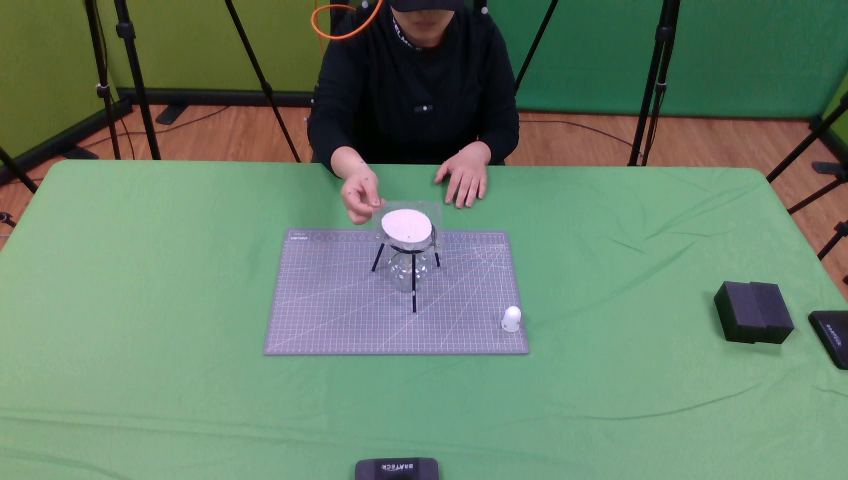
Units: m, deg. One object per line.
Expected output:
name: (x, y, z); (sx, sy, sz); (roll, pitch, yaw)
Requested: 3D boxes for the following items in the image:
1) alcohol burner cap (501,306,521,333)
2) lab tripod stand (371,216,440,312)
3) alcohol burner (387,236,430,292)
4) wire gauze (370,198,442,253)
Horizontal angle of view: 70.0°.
alcohol burner cap: (0.155, 0.137, 1.061); (0.034, 0.048, 0.033); (1, 45, -1)
lab tripod stand: (-0.029, 0.033, 1.084); (0.148, 0.132, 0.147); (1, 47, -1)
alcohol burner: (-0.028, 0.038, 1.093); (0.078, 0.120, 0.077); (1, 46, -1)
wire gauze: (-0.030, -0.029, 1.036); (0.125, 0.011, 0.120); (6, 43, -6)
